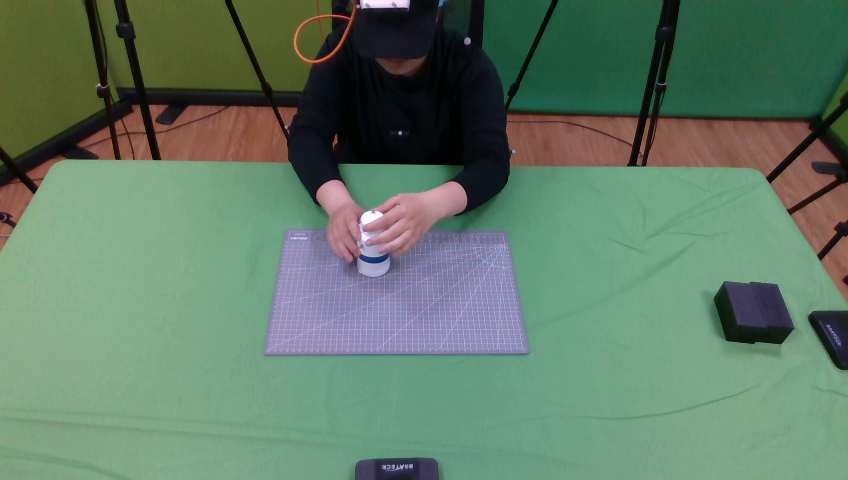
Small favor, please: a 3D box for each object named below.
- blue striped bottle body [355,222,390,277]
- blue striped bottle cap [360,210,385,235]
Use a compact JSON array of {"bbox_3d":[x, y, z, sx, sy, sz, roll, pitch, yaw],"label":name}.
[{"bbox_3d":[-0.095,0.007,1.112,0.063,0.121,0.062,2,46,-2],"label":"blue striped bottle body"},{"bbox_3d":[-0.092,-0.031,1.072,0.044,0.021,0.044,4,45,-3],"label":"blue striped bottle cap"}]
